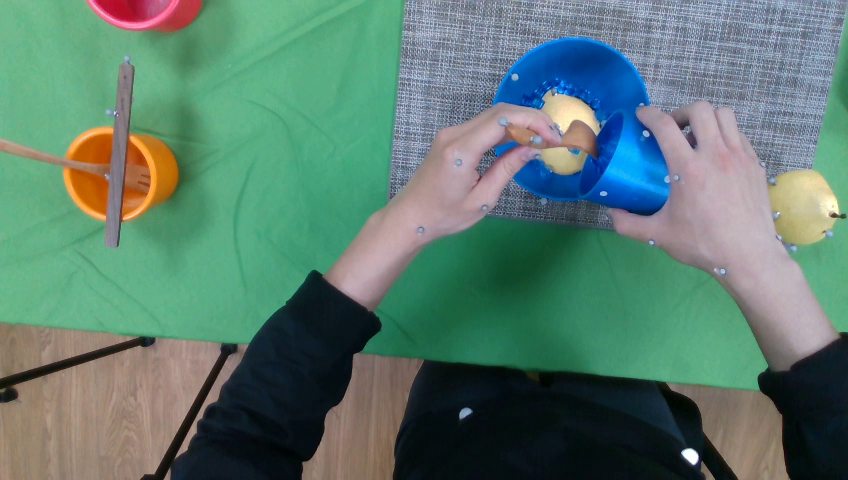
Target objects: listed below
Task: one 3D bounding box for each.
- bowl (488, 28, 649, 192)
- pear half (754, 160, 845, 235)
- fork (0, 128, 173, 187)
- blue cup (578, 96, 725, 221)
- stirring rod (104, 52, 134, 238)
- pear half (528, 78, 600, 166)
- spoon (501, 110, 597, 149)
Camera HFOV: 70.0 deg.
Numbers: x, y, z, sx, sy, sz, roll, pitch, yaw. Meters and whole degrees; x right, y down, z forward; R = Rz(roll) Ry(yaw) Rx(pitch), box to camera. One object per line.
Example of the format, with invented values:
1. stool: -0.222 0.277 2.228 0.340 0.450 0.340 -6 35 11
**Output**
1. bowl: 0.135 -0.126 0.600 0.151 0.076 0.152 0 102 0
2. pear half: 0.372 -0.039 0.605 0.056 0.109 0.076 -12 98 3
3. fork: -0.342 -0.086 0.575 0.209 0.018 0.028 15 116 -48
4. blue cup: 0.200 -0.062 0.530 0.100 0.092 0.093 22 101 2
5. stirring rod: -0.289 -0.087 0.573 0.014 0.006 0.176 10 103 -5
6. pear half: 0.139 -0.118 0.595 0.070 0.031 0.088 -20 96 0
7. spoon: 0.102 -0.087 0.477 0.021 0.194 0.041 -33 80 33
